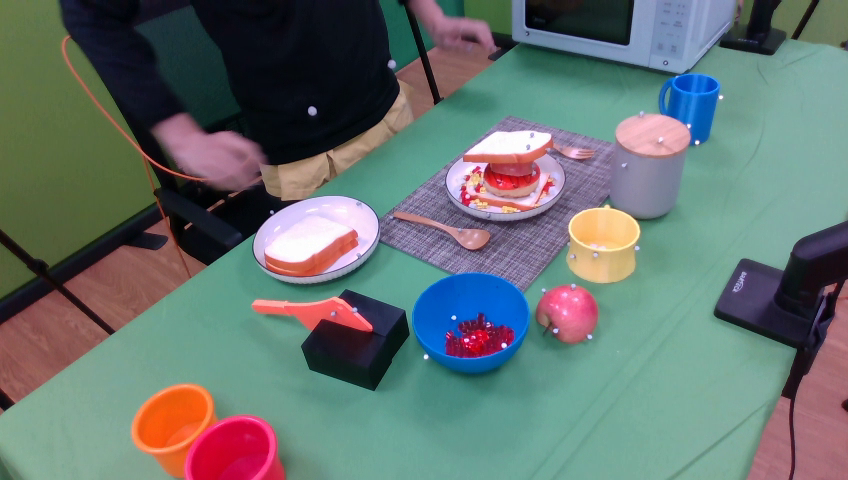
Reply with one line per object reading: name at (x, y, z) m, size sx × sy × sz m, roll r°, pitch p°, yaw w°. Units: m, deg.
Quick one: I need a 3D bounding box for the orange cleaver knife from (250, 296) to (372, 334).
orange cleaver knife at (-0.159, 0.103, 0.828) m, size 0.210 × 0.078 × 0.012 m, roll -4°, pitch 43°, yaw 39°

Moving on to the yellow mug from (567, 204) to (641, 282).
yellow mug at (0.268, -0.005, 0.905) m, size 0.099 × 0.064 × 0.130 m, roll 6°, pitch 42°, yaw 15°

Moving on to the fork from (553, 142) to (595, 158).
fork at (0.225, -0.186, 1.151) m, size 0.206 × 0.019 × 0.028 m, roll 21°, pitch 59°, yaw 27°

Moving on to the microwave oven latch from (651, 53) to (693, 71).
microwave oven latch at (0.532, -0.386, 1.301) m, size 0.078 × 0.029 × 0.030 m, roll 27°, pitch 52°, yaw 34°

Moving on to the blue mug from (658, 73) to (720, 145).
blue mug at (0.483, -0.250, 1.127) m, size 0.082 × 0.106 × 0.115 m, roll -26°, pitch 44°, yaw -19°

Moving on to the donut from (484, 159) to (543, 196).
donut at (0.150, -0.112, 1.018) m, size 0.099 × 0.048 × 0.098 m, roll -4°, pitch 41°, yaw 4°

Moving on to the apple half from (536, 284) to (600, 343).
apple half at (0.196, 0.091, 0.815) m, size 0.075 × 0.053 × 0.080 m, roll -22°, pitch 42°, yaw -20°

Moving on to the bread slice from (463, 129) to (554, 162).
bread slice at (0.143, -0.154, 0.974) m, size 0.130 × 0.019 × 0.105 m, roll 9°, pitch 35°, yaw 38°

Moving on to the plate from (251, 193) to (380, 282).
plate at (-0.173, -0.001, 0.984) m, size 0.209 × 0.038 × 0.208 m, roll -4°, pitch 41°, yaw 4°

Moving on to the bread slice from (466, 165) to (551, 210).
bread slice at (0.141, -0.093, 1.041) m, size 0.133 × 0.018 × 0.107 m, roll 9°, pitch 42°, yaw 20°

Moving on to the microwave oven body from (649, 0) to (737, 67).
microwave oven body at (0.475, -0.602, 1.411) m, size 0.438 × 0.261 × 0.327 m, roll 23°, pitch 50°, yaw 32°

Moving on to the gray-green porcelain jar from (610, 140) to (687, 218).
gray-green porcelain jar at (0.354, -0.106, 0.964) m, size 0.106 × 0.127 × 0.105 m, roll -4°, pitch 41°, yaw 4°

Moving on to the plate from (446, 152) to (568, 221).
plate at (0.142, -0.097, 1.045) m, size 0.207 × 0.039 × 0.206 m, roll -4°, pitch 41°, yaw 4°

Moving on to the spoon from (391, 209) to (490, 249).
spoon at (0.023, -0.025, 0.989) m, size 0.192 × 0.022 × 0.041 m, roll 21°, pitch 69°, yaw 28°

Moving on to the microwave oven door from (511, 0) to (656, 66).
microwave oven door at (0.351, -0.539, 1.349) m, size 0.353 × 0.245 × 0.039 m, roll 24°, pitch 50°, yaw 31°

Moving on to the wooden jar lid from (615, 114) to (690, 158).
wooden jar lid at (0.347, -0.155, 0.923) m, size 0.108 × 0.021 × 0.108 m, roll -3°, pitch 44°, yaw 4°

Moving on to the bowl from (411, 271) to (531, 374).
bowl at (0.062, 0.119, 0.780) m, size 0.151 × 0.077 × 0.150 m, roll -4°, pitch 40°, yaw 4°
